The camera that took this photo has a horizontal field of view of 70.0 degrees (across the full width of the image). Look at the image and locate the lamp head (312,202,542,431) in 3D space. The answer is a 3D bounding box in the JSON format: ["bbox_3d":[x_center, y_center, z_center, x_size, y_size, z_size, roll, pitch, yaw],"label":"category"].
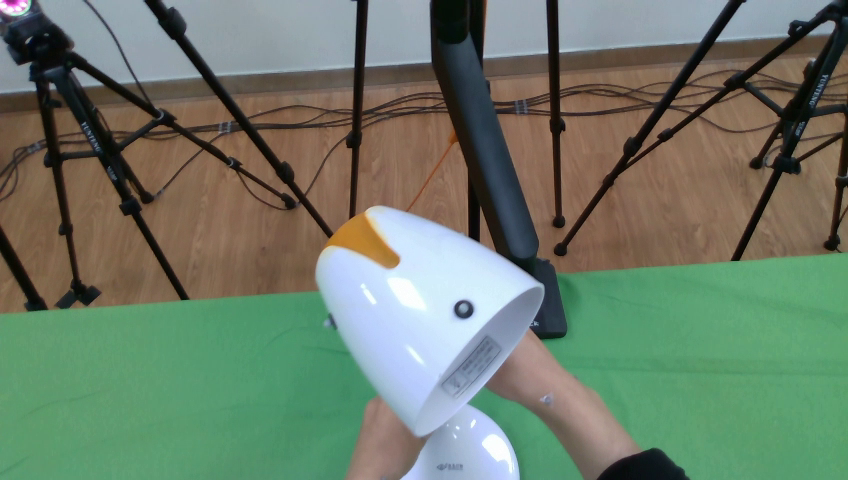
[{"bbox_3d":[-0.007,0.035,0.370,0.112,0.113,0.122,-40,60,-23],"label":"lamp head"}]

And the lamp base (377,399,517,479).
[{"bbox_3d":[0.021,0.207,0.641,0.161,0.182,0.177,-10,53,-4],"label":"lamp base"}]
